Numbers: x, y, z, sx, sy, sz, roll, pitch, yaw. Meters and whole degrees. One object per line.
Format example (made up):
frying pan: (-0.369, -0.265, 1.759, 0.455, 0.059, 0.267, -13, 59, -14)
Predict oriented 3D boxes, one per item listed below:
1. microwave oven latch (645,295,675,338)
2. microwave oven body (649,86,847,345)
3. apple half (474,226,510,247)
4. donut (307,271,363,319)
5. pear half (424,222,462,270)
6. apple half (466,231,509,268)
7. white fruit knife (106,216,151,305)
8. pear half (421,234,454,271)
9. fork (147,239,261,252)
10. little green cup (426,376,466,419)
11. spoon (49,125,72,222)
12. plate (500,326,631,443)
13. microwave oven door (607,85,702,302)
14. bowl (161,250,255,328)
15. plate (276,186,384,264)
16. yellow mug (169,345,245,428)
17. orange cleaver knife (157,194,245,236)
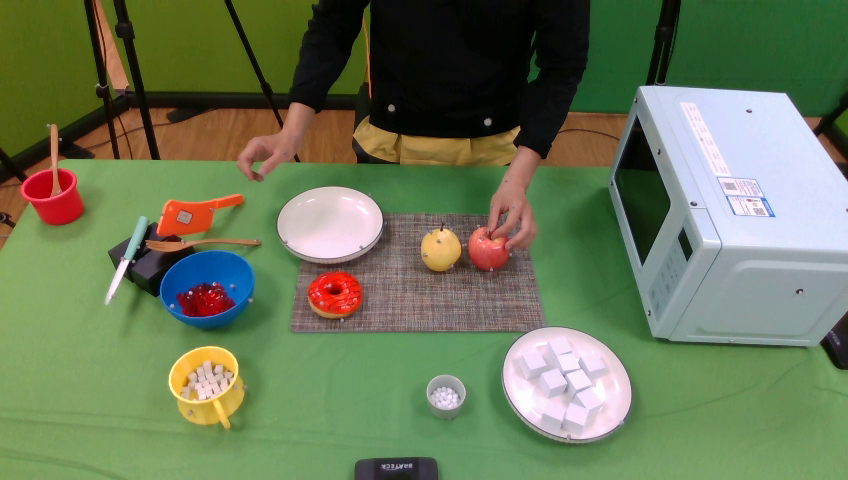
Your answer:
microwave oven latch: (0.411, 0.134, 1.061, 0.030, 0.029, 0.078, 3, 45, 0)
microwave oven body: (0.567, -0.053, 1.118, 0.326, 0.261, 0.439, 2, 45, -1)
apple half: (0.125, -0.001, 1.167, 0.081, 0.081, 0.032, 3, 46, -1)
donut: (-0.157, 0.097, 1.073, 0.099, 0.048, 0.098, 4, 45, -4)
pear half: (0.039, 0.000, 1.135, 0.076, 0.110, 0.056, 25, 49, 14)
apple half: (0.121, 0.023, 1.144, 0.081, 0.075, 0.053, -1, 48, -14)
white fruit knife: (-0.519, 0.032, 1.066, 0.027, 0.016, 0.206, -18, 45, 19)
pear half: (0.020, 0.028, 1.120, 0.070, 0.088, 0.031, 25, 49, 13)
fork: (-0.399, 0.007, 1.118, 0.208, 0.019, 0.028, -4, 36, -36)
little green cup: (0.033, 0.248, 0.950, 0.061, 0.039, 0.061, 2, 46, -2)
spoon: (-0.717, -0.131, 1.189, 0.042, 0.021, 0.193, -3, 90, -7)
plate: (0.224, 0.233, 0.978, 0.208, 0.039, 0.206, 2, 46, -2)
microwave oven door: (0.423, -0.094, 1.140, 0.039, 0.245, 0.353, 2, 46, -1)
bowl: (-0.362, 0.097, 1.040, 0.151, 0.077, 0.150, 2, 45, -2)
plate: (-0.184, -0.027, 1.195, 0.209, 0.038, 0.208, 2, 46, -2)
yellow mug: (-0.322, 0.230, 0.922, 0.100, 0.064, 0.130, -24, 53, -25)
orange cleaver knife: (-0.427, -0.050, 1.175, 0.012, 0.077, 0.211, 23, 19, 20)
